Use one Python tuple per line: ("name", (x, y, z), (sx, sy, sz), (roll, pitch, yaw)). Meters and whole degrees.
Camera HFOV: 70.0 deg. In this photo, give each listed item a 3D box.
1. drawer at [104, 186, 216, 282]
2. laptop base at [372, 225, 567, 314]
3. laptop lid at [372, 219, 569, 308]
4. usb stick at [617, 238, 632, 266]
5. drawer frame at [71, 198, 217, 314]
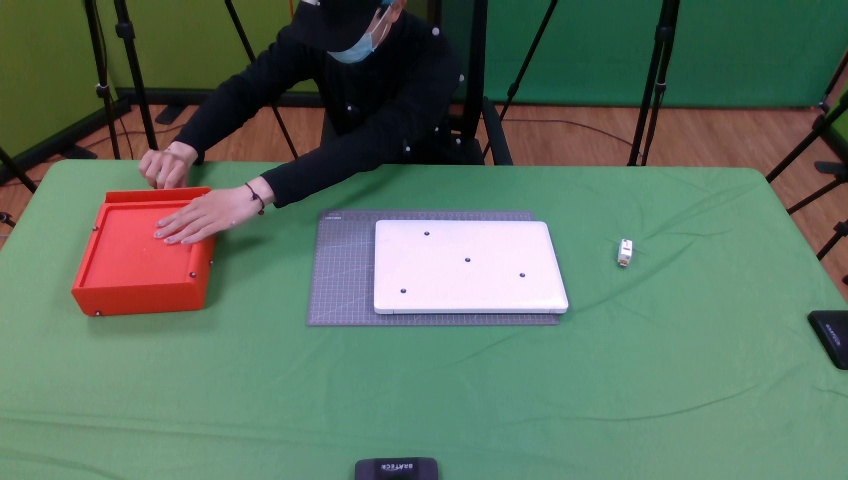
("drawer", (-0.499, -0.003, 1.122), (0.195, 0.073, 0.210), (-3, 47, -8))
("laptop base", (0.080, 0.049, 1.159), (0.355, 0.023, 0.234), (0, 43, -4))
("laptop lid", (0.081, 0.039, 1.152), (0.357, 0.013, 0.240), (2, 44, -3))
("usb stick", (0.397, 0.025, 1.200), (0.021, 0.027, 0.059), (16, 50, 8))
("drawer frame", (-0.493, 0.023, 1.096), (0.202, 0.083, 0.212), (-3, 47, -8))
